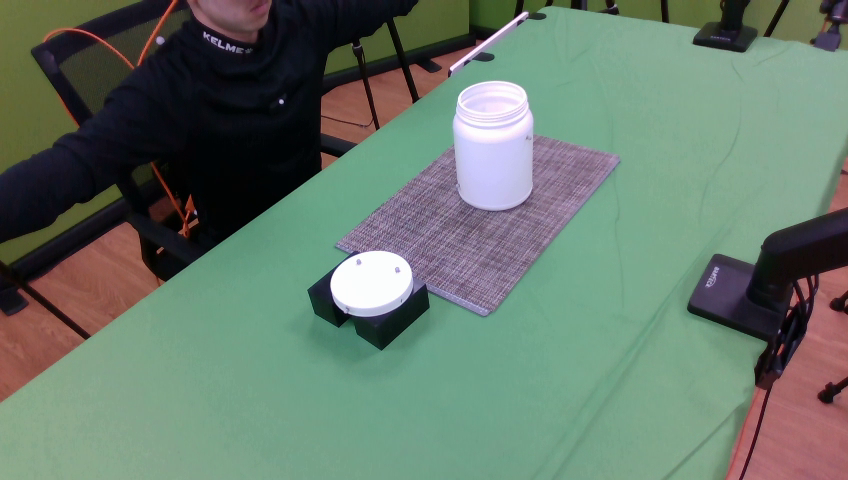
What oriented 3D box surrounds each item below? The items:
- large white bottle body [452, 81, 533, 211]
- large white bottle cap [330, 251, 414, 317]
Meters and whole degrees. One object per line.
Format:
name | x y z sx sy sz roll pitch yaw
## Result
large white bottle body | 0.115 -0.156 1.002 0.130 0.185 0.130 -5 41 4
large white bottle cap | -0.072 0.059 0.836 0.115 0.018 0.114 -4 41 4
